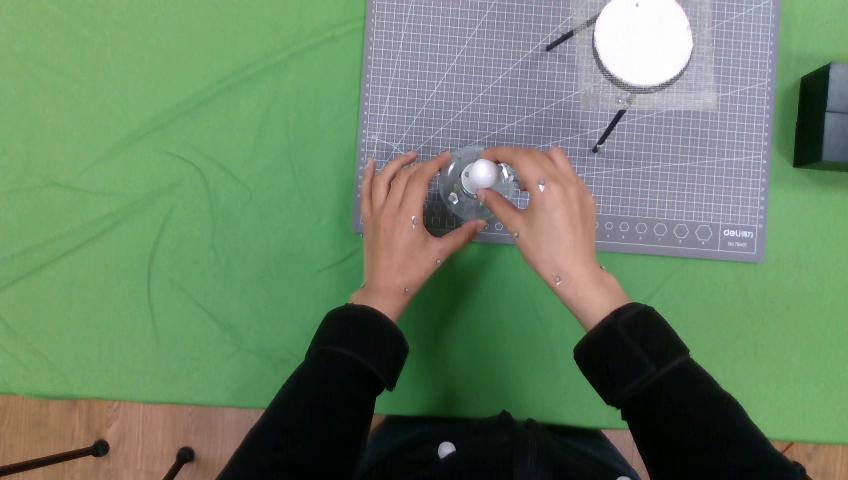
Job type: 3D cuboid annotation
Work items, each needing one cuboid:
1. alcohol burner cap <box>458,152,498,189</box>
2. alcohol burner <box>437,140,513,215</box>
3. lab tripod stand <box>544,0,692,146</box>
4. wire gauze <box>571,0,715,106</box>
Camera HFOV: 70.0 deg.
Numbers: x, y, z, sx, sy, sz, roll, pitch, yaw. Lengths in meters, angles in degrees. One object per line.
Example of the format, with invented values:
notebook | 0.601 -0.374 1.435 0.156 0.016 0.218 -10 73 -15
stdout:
alcohol burner cap | 0.053 -0.067 0.565 0.034 0.048 0.034 0 87 -8
alcohol burner | 0.052 -0.064 0.602 0.078 0.119 0.078 0 88 -2
lab tripod stand | 0.193 -0.178 0.593 0.148 0.131 0.148 0 88 -1
wire gauze | 0.191 -0.177 0.527 0.125 0.011 0.121 -2 90 -1
